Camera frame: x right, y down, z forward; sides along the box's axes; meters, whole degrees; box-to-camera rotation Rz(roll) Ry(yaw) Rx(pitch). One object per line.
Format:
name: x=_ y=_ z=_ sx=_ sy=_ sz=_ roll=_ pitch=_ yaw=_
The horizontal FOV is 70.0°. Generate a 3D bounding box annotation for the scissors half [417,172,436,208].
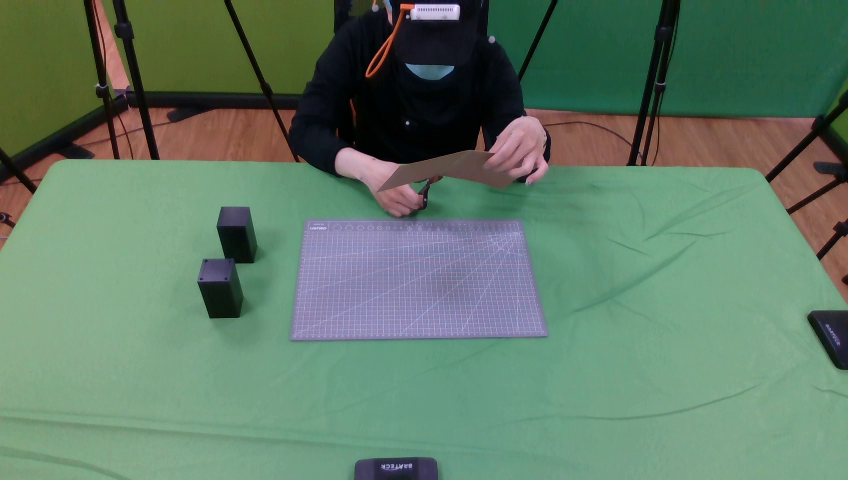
scissors half: x=0.011 y=-0.107 z=1.183 sx=0.013 sy=0.175 sz=0.040 roll=-5 pitch=67 yaw=-15

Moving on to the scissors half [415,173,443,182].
scissors half: x=0.008 y=-0.130 z=1.186 sx=0.013 sy=0.040 sz=0.174 roll=-10 pitch=11 yaw=-15

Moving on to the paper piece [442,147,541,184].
paper piece: x=0.117 y=-0.132 z=1.090 sx=0.138 sy=0.136 sz=0.008 roll=10 pitch=78 yaw=-19

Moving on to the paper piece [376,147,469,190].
paper piece: x=-0.005 y=-0.123 z=1.037 sx=0.136 sy=0.135 sz=0.004 roll=-19 pitch=85 yaw=-24
